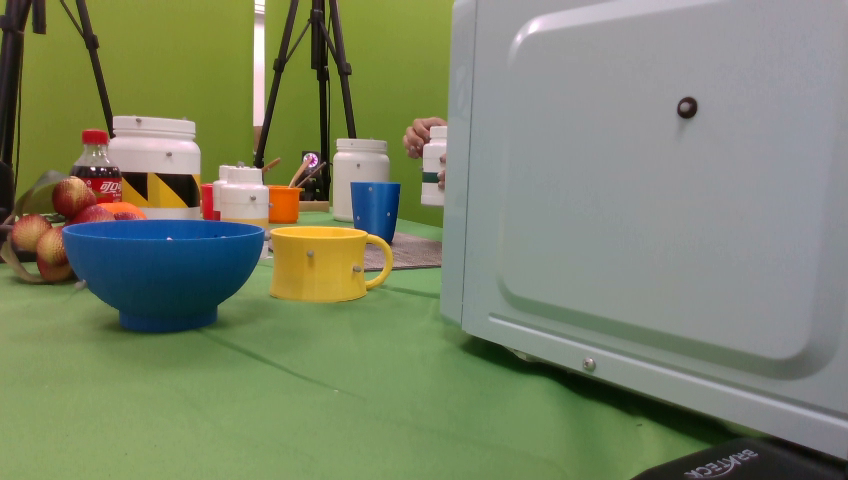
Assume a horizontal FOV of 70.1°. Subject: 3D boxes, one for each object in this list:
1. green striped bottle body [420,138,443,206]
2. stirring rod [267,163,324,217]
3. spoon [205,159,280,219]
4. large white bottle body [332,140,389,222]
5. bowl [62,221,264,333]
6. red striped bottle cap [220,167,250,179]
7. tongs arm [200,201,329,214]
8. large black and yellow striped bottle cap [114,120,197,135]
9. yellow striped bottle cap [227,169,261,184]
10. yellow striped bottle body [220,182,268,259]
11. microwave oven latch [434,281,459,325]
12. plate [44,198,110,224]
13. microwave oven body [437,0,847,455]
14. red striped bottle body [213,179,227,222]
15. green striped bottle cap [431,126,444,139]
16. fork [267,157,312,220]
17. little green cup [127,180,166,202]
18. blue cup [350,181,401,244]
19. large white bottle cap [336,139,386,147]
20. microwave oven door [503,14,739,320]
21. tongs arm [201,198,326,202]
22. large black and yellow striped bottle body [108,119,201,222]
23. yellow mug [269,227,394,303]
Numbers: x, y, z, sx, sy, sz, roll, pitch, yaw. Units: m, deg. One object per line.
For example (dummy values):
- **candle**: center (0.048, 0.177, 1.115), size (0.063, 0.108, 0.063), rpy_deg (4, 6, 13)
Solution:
- **green striped bottle body**: center (0.028, -0.113, 0.964), size (0.063, 0.119, 0.063), rpy_deg (3, 5, 0)
- **stirring rod**: center (-0.278, -0.105, 1.294), size (0.176, 0.006, 0.014), rpy_deg (-47, 25, -18)
- **spoon**: center (-0.364, -0.103, 1.214), size (0.193, 0.021, 0.041), rpy_deg (-42, 4, 6)
- **large white bottle body**: center (-0.145, -0.136, 1.387), size (0.131, 0.184, 0.130), rpy_deg (2, 7, 0)
- **bowl**: center (-0.209, 0.029, 0.496), size (0.151, 0.077, 0.151), rpy_deg (2, 7, 0)
- **red striped bottle cap**: center (-0.282, -0.100, 0.901), size (0.044, 0.017, 0.044), rpy_deg (0, 5, 0)
- **tongs arm**: center (-0.378, -0.079, 1.440), size (0.387, 0.026, 0.050), rpy_deg (-4, 8, -44)
- **large black and yellow striped bottle cap**: center (-0.407, -0.171, 0.920), size (0.115, 0.019, 0.115), rpy_deg (2, 9, 0)
- **yellow striped bottle cap**: center (-0.243, -0.086, 0.818), size (0.044, 0.018, 0.044), rpy_deg (3, 6, 0)
- **yellow striped bottle body**: center (-0.246, -0.036, 0.825), size (0.063, 0.120, 0.063), rpy_deg (3, 8, 0)
- **microwave oven latch**: center (0.044, 0.045, 0.470), size (0.079, 0.029, 0.030), rpy_deg (-2, 8, -39)
- **plate**: center (-0.617, -0.056, 1.179), size (0.209, 0.038, 0.209), rpy_deg (3, 7, 0)
- **microwave oven body**: center (0.279, -0.040, 0.465), size (0.444, 0.260, 0.324), rpy_deg (-3, 9, -41)
- **red striped bottle body**: center (-0.284, -0.048, 0.909), size (0.063, 0.119, 0.063), rpy_deg (3, 12, 0)
- **green striped bottle cap**: center (0.033, -0.170, 0.958), size (0.044, 0.020, 0.044), rpy_deg (-4, 4, 1)
- **fork**: center (-0.289, -0.116, 1.321), size (0.028, 0.019, 0.207), rpy_deg (6, 52, 18)
- **little green cup**: center (-0.485, -0.086, 1.061), size (0.061, 0.038, 0.061), rpy_deg (1, 7, 0)
- **blue cup**: center (-0.082, -0.047, 1.010), size (0.093, 0.100, 0.092), rpy_deg (1, 6, 0)
- **large white bottle cap**: center (-0.143, -0.219, 1.375), size (0.115, 0.018, 0.115), rpy_deg (2, 8, 0)
- **microwave oven door**: center (0.218, -0.065, 0.600), size (0.358, 0.243, 0.039), rpy_deg (-4, 10, -41)
- **tongs arm**: center (-0.433, -0.089, 1.508), size (0.390, 0.028, 0.028), rpy_deg (-1, 2, -29)
- **large black and yellow striped bottle body**: center (-0.412, -0.088, 0.930), size (0.131, 0.184, 0.130), rpy_deg (3, 7, 0)
- **yellow mug**: center (-0.094, 0.023, 0.629), size (0.131, 0.064, 0.099), rpy_deg (0, 6, -22)
